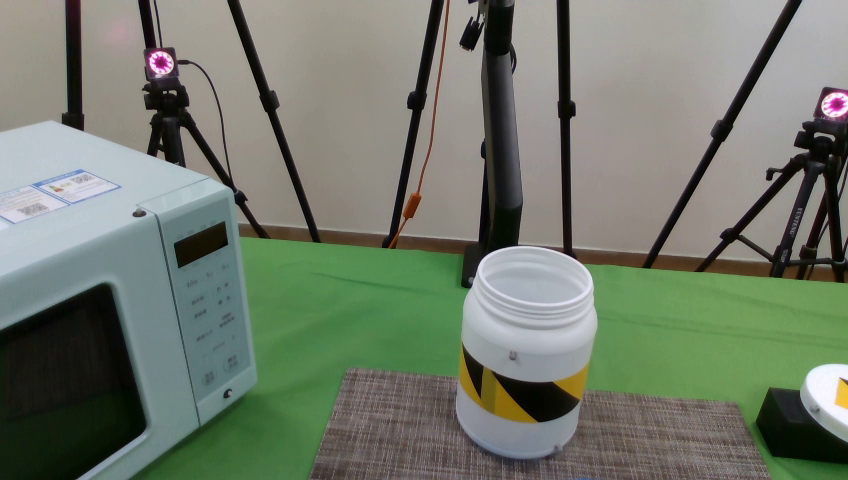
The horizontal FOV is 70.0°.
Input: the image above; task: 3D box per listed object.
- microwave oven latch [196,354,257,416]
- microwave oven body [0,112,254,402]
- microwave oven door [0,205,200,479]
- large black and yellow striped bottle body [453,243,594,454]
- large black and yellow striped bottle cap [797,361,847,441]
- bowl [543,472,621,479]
[{"bbox_3d":[-0.213,0.149,0.639,0.030,0.030,0.079,21,35,29],"label":"microwave oven latch"},{"bbox_3d":[-0.431,0.091,0.527,0.323,0.262,0.441,20,34,27],"label":"microwave oven body"},{"bbox_3d":[-0.332,0.144,0.427,0.039,0.245,0.355,19,33,28],"label":"microwave oven door"},{"bbox_3d":[0.099,0.108,0.614,0.131,0.185,0.129,2,29,-1],"label":"large black and yellow striped bottle body"},{"bbox_3d":[0.444,0.165,0.614,0.115,0.019,0.114,1,28,0],"label":"large black and yellow striped bottle cap"},{"bbox_3d":[0.127,0.260,0.451,0.151,0.077,0.150,2,29,0],"label":"bowl"}]
